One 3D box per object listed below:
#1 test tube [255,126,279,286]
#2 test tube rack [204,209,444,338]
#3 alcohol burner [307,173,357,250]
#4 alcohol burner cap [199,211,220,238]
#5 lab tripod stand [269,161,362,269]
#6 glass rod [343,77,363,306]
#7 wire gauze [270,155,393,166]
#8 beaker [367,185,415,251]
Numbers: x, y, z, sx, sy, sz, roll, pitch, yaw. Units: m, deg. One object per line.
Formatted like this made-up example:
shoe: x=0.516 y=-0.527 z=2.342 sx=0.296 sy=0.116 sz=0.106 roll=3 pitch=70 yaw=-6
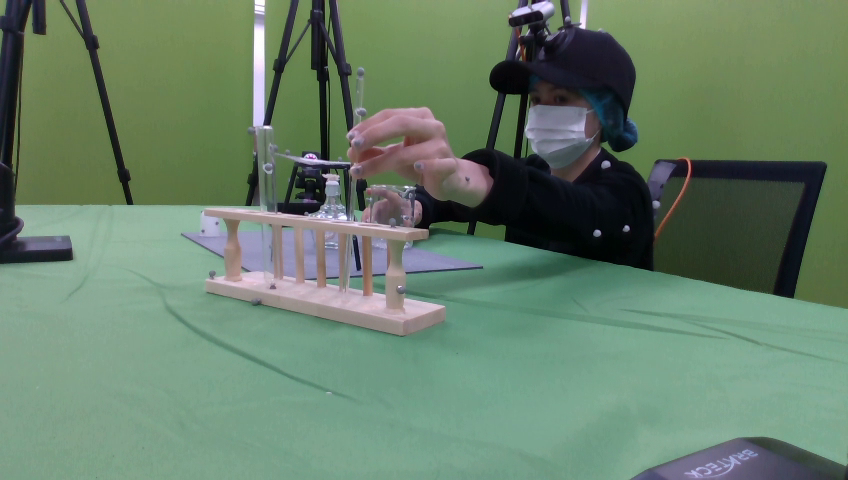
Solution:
test tube: x=-0.147 y=-0.030 z=0.566 sx=0.017 sy=0.150 sz=0.017 roll=-1 pitch=8 yaw=0
test tube rack: x=-0.100 y=0.021 z=0.565 sx=0.241 sy=0.085 sz=0.067 roll=7 pitch=9 yaw=32
alcohol burner: x=-0.144 y=-0.045 z=0.940 sx=0.078 sy=0.119 sz=0.078 roll=1 pitch=9 yaw=0
alcohol burner cap: x=-0.356 y=-0.027 z=1.002 sx=0.034 sy=0.048 sz=0.034 roll=2 pitch=7 yaw=0
lab tripod stand: x=-0.125 y=-0.036 z=0.794 sx=0.148 sy=0.131 sz=0.148 roll=5 pitch=7 yaw=0
glass rod: x=-0.061 y=-0.038 z=0.520 sx=0.008 sy=0.199 sz=0.008 roll=4 pitch=8 yaw=0
wire gauze: x=-0.122 y=-0.102 z=0.785 sx=0.122 sy=0.011 sz=0.124 roll=-3 pitch=10 yaw=-39
beaker: x=-0.051 y=-0.035 z=0.955 sx=0.074 sy=0.100 sz=0.083 roll=-1 pitch=9 yaw=-27
